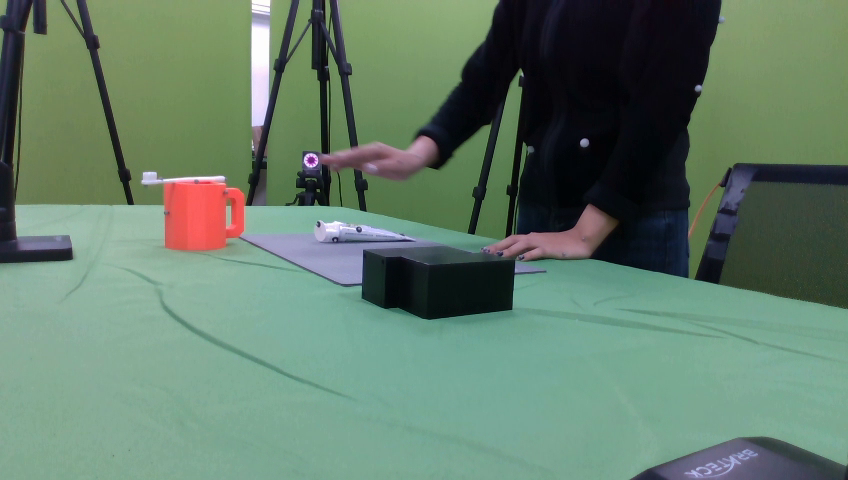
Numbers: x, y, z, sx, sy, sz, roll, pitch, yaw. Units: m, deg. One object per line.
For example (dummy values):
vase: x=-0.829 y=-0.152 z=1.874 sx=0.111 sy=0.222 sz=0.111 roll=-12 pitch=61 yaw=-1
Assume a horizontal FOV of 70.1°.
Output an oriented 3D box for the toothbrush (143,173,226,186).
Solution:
toothbrush: x=-0.342 y=-0.089 z=0.878 sx=0.014 sy=0.016 sz=0.182 roll=2 pitch=7 yaw=15

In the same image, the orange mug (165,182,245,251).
orange mug: x=-0.326 y=-0.040 z=0.911 sx=0.083 sy=0.101 sz=0.127 roll=8 pitch=13 yaw=37

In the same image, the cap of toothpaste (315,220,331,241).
cap of toothpaste: x=-0.165 y=-0.015 z=0.982 sx=0.011 sy=0.037 sz=0.037 roll=-9 pitch=12 yaw=-43

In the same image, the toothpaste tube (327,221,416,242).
toothpaste tube: x=-0.095 y=-0.012 z=1.026 sx=0.166 sy=0.034 sz=0.055 roll=2 pitch=14 yaw=-33
